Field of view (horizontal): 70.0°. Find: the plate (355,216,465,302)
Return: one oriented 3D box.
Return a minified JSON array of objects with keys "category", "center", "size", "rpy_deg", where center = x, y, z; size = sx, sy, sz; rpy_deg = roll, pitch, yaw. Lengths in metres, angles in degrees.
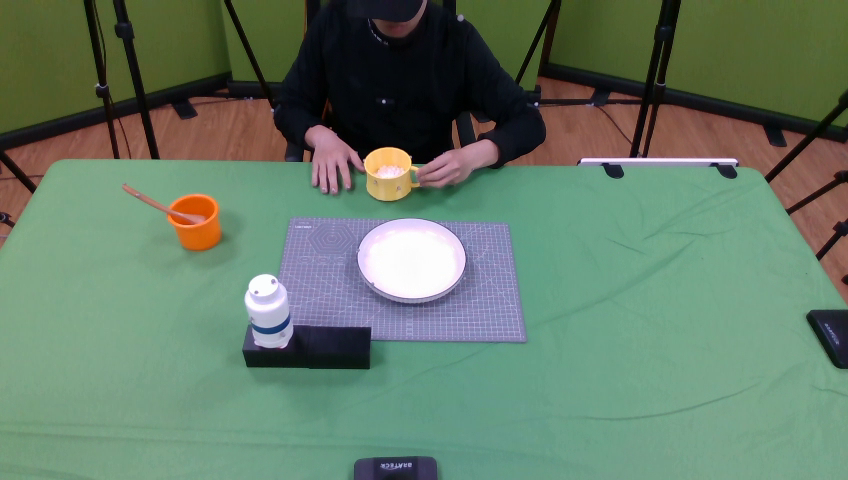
[{"category":"plate","center":[-0.027,0.039,1.144],"size":[0.208,0.039,0.206],"rpy_deg":[2,46,-2]}]

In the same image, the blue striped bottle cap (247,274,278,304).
[{"category":"blue striped bottle cap","center":[-0.239,0.072,0.900],"size":[0.044,0.021,0.044],"rpy_deg":[4,46,-4]}]

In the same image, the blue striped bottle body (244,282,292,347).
[{"category":"blue striped bottle body","center":[-0.241,0.108,0.937],"size":[0.063,0.121,0.062],"rpy_deg":[2,46,-2]}]

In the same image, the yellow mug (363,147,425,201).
[{"category":"yellow mug","center":[-0.062,-0.140,1.284],"size":[0.131,0.064,0.099],"rpy_deg":[7,50,6]}]

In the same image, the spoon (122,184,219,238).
[{"category":"spoon","center":[-0.463,-0.053,1.118],"size":[0.195,0.021,0.041],"rpy_deg":[28,37,-35]}]
